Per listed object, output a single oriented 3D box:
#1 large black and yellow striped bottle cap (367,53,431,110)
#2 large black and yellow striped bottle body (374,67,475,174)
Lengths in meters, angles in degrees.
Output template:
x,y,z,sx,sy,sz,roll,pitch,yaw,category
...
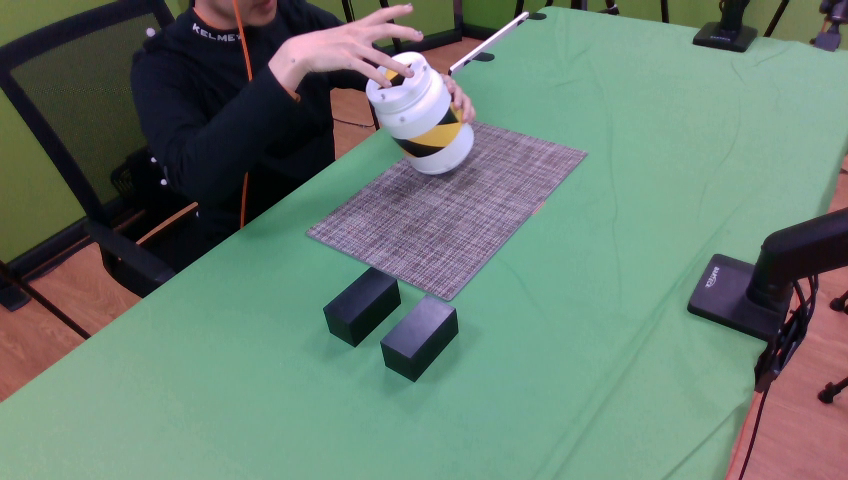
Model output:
x,y,z,sx,sy,sz,roll,pitch,yaw,category
-0.043,-0.263,1.001,0.114,0.019,0.114,-17,49,21,large black and yellow striped bottle cap
-0.003,-0.219,1.062,0.130,0.185,0.130,-17,50,22,large black and yellow striped bottle body
